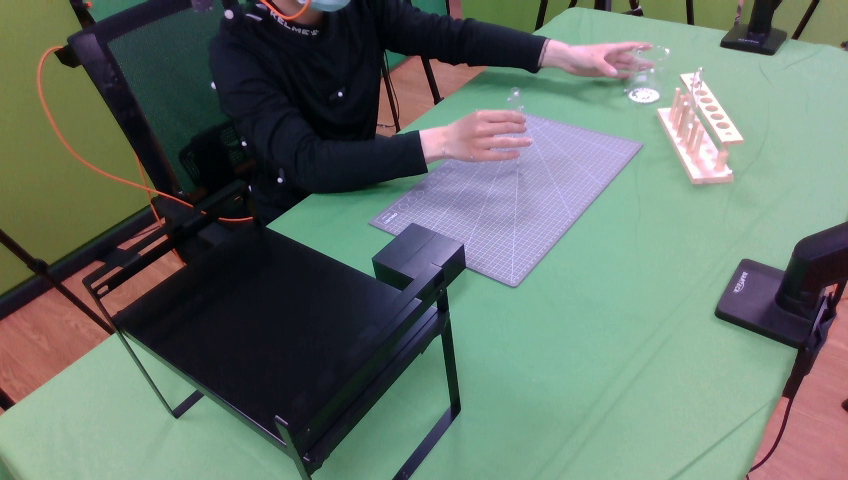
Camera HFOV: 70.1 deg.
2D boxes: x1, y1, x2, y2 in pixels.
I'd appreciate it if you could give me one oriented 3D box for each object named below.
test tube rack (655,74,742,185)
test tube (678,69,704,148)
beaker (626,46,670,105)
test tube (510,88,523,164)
[{"bbox_3d":[0.488,-0.205,1.093,0.067,0.085,0.241,-3,41,5],"label":"test tube rack"},{"bbox_3d":[0.465,-0.228,1.054,0.017,0.151,0.017,-4,41,4],"label":"test tube"},{"bbox_3d":[0.457,-0.336,1.240,0.084,0.101,0.073,-12,41,-6],"label":"beaker"},{"bbox_3d":[0.161,-0.194,1.051,0.017,0.151,0.017,-7,42,6],"label":"test tube"}]
